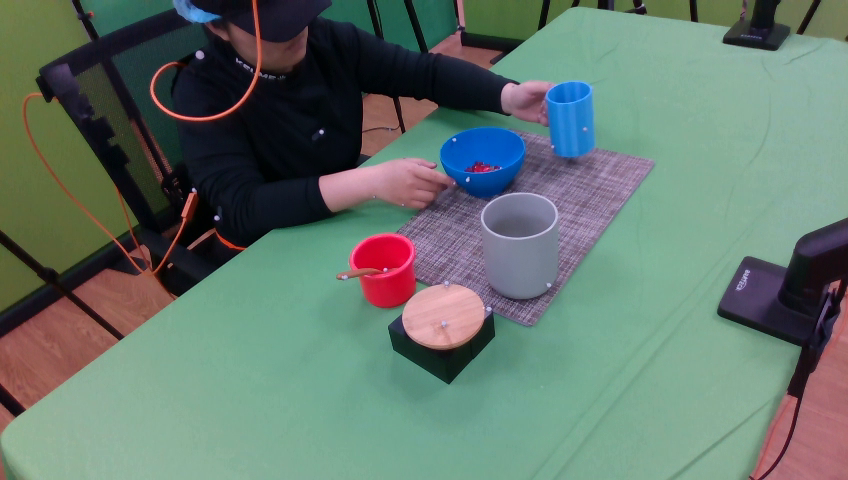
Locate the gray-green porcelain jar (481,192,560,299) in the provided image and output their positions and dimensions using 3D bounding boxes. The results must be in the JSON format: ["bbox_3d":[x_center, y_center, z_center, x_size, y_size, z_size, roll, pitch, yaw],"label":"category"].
[{"bbox_3d":[0.138,0.013,0.858,0.106,0.127,0.105,-6,40,5],"label":"gray-green porcelain jar"}]

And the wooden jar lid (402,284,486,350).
[{"bbox_3d":[0.027,0.101,0.785,0.108,0.021,0.108,-5,39,4],"label":"wooden jar lid"}]

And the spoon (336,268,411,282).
[{"bbox_3d":[-0.071,0.047,0.850,0.041,0.195,0.021,18,93,24],"label":"spoon"}]

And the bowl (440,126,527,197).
[{"bbox_3d":[0.107,-0.129,1.070,0.151,0.077,0.150,-5,40,5],"label":"bowl"}]

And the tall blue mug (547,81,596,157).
[{"bbox_3d":[0.248,-0.216,1.068,0.106,0.108,0.078,24,55,39],"label":"tall blue mug"}]
